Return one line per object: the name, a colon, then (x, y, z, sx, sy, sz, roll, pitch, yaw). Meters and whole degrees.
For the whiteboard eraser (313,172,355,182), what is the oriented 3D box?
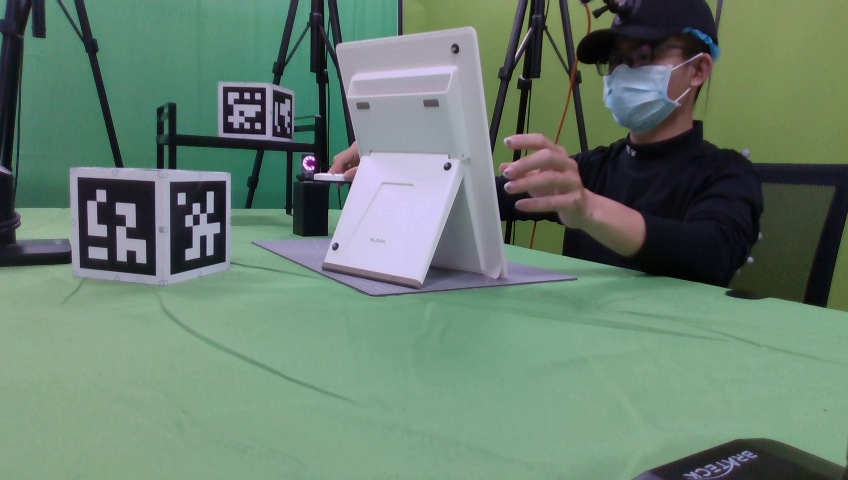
whiteboard eraser: (-0.163, -0.121, 1.163, 0.102, 0.019, 0.041, -1, 7, -27)

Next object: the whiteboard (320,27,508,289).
whiteboard: (-0.046, -0.076, 0.721, 0.216, 0.305, 0.144, 9, 29, 39)
